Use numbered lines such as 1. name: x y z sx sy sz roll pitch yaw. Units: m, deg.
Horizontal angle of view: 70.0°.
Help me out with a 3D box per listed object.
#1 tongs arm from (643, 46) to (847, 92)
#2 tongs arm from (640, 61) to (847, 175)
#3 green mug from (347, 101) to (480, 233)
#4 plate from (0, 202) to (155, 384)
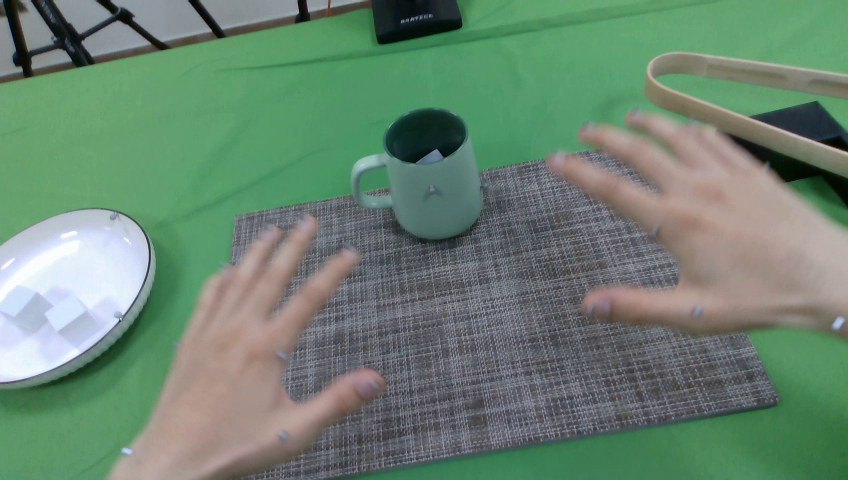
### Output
1. tongs arm: 0.399 -0.132 0.552 0.382 0.027 0.050 20 62 23
2. tongs arm: 0.356 -0.076 0.518 0.384 0.028 0.028 32 70 29
3. green mug: -0.011 -0.064 0.581 0.125 0.106 0.091 -11 51 1
4. plate: -0.366 0.051 0.602 0.209 0.038 0.207 -5 51 6
